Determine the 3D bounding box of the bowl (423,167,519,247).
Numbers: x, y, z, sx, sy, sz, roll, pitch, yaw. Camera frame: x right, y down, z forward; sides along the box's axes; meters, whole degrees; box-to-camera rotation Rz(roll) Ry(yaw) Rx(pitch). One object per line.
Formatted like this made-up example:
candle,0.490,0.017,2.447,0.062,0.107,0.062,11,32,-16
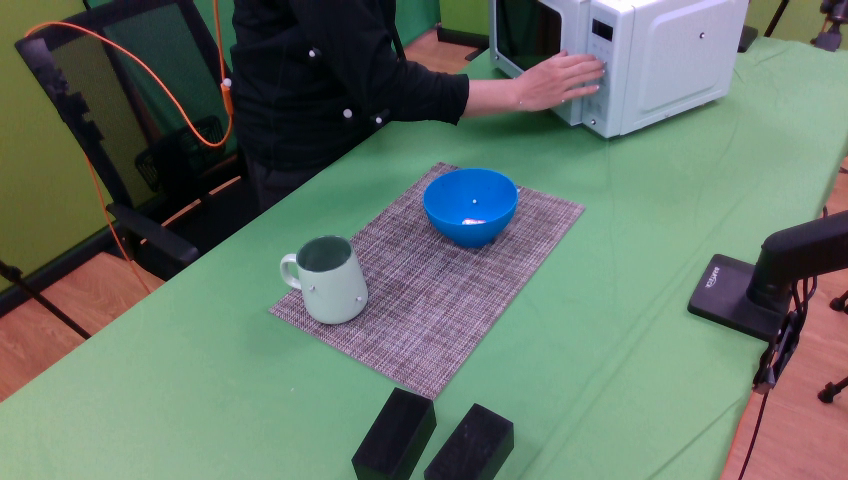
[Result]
bowl,0.075,-0.041,0.958,0.151,0.077,0.150,-4,40,4

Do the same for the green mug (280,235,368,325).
green mug,-0.146,0.055,0.857,0.125,0.105,0.092,8,43,17

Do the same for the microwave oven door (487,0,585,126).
microwave oven door,0.222,-0.416,1.228,0.039,0.245,0.352,-19,42,-13

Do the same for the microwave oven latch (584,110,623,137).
microwave oven latch,0.337,-0.222,1.143,0.030,0.029,0.078,-22,42,-15

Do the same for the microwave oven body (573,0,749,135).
microwave oven body,0.382,-0.445,1.246,0.327,0.261,0.437,-22,42,-16
